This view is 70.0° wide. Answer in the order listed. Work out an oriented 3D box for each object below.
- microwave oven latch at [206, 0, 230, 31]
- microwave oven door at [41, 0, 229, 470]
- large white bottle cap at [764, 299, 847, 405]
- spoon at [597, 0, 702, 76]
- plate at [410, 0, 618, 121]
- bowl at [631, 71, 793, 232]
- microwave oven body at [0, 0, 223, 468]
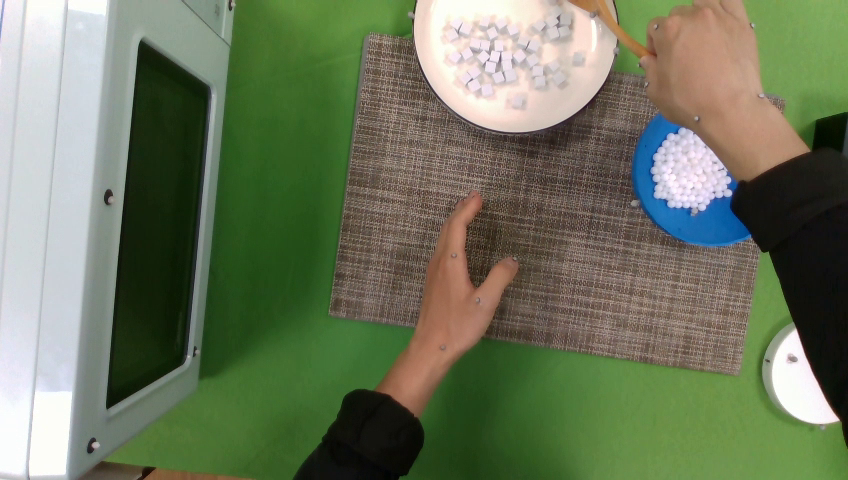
[{"bbox_3d":[-0.205,-0.249,0.593,0.030,0.029,0.079,6,94,-2],"label":"microwave oven latch"},{"bbox_3d":[-0.228,-0.027,0.505,0.039,0.243,0.356,5,93,-1],"label":"microwave oven door"},{"bbox_3d":[0.430,0.122,0.659,0.115,0.018,0.115,0,94,-2],"label":"large white bottle cap"},{"bbox_3d":[0.188,-0.211,0.570,0.021,0.042,0.192,-34,63,1],"label":"spoon"},{"bbox_3d":[0.090,-0.222,0.617,0.209,0.038,0.209,0,91,-2],"label":"plate"},{"bbox_3d":[0.273,-0.085,0.608,0.151,0.076,0.151,0,94,-1],"label":"bowl"},{"bbox_3d":[-0.369,-0.084,0.503,0.326,0.259,0.442,6,94,-2],"label":"microwave oven body"}]
